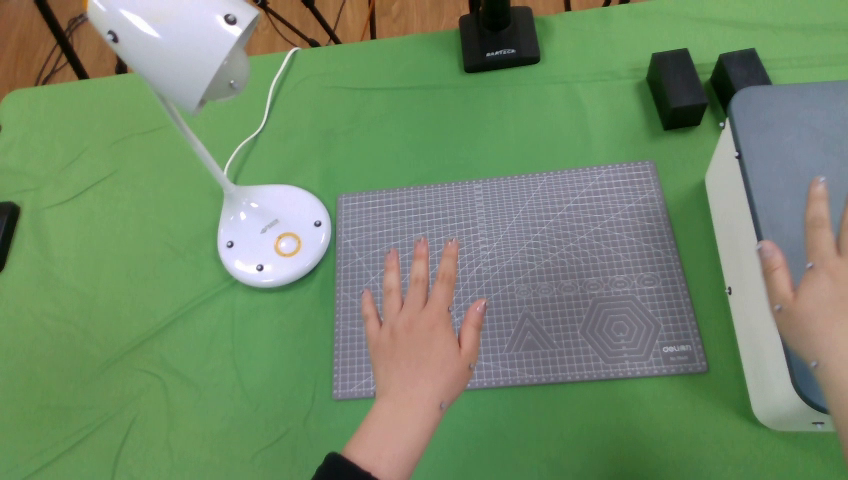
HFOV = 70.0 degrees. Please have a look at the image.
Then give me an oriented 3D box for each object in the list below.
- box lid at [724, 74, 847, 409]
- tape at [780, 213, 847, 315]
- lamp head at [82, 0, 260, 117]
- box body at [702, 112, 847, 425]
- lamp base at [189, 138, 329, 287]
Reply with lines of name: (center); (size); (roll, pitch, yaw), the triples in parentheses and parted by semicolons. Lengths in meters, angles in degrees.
box lid: (0.466, -0.021, 0.601); (0.263, 0.015, 0.368); (-3, 64, 7)
tape: (0.487, 0.028, 0.712); (0.117, 0.053, 0.116); (-3, 63, 6)
lamp head: (-0.221, -0.182, 0.520); (0.123, 0.112, 0.112); (30, 68, -15)
box body: (0.475, 0.014, 0.665); (0.254, 0.162, 0.361); (-3, 63, 7)
lamp base: (-0.232, -0.048, 0.788); (0.178, 0.182, 0.160); (31, 71, 24)
